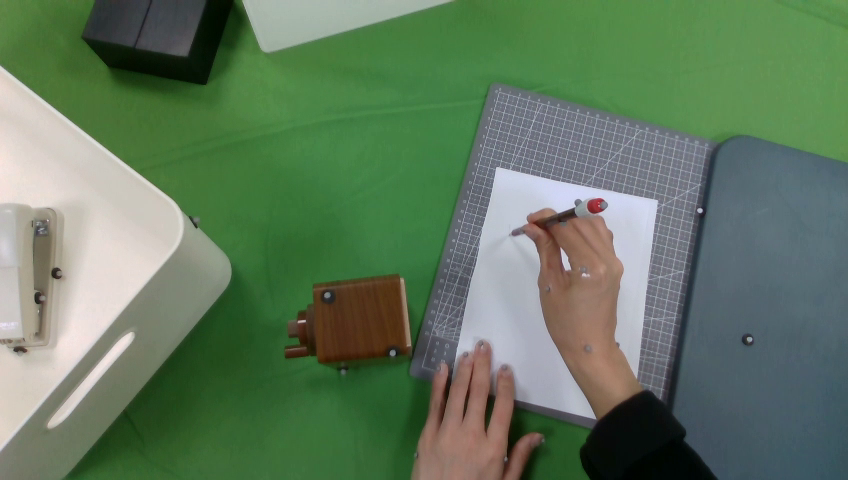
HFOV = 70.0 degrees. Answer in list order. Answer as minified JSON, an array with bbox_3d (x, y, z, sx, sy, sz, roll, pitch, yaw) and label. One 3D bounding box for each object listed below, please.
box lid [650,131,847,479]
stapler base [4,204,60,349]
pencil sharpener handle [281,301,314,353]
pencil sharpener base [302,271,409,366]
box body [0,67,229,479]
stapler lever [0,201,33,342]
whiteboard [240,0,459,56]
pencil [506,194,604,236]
[{"bbox_3d":[0.363,0.091,0.555,0.263,0.015,0.370,15,77,0],"label":"box lid"},{"bbox_3d":[-0.347,0.029,0.529,0.041,0.024,0.130,-5,79,-1],"label":"stapler base"},{"bbox_3d":[-0.103,0.074,0.478,0.031,0.068,0.035,-6,60,-3],"label":"pencil sharpener handle"},{"bbox_3d":[-0.053,0.067,0.495,0.077,0.107,0.061,-6,77,-3],"label":"pencil sharpener base"},{"bbox_3d":[-0.371,-0.003,0.471,0.363,0.161,0.253,36,78,6],"label":"box body"},{"bbox_3d":[-0.346,0.025,0.504,0.027,0.040,0.117,-5,79,-1],"label":"stapler lever"},{"bbox_3d":[-0.094,-0.353,0.524,0.217,0.308,0.142,-17,58,-6],"label":"whiteboard"},{"bbox_3d":[0.093,-0.015,0.472,0.012,0.194,0.012,1,84,-9],"label":"pencil"}]
